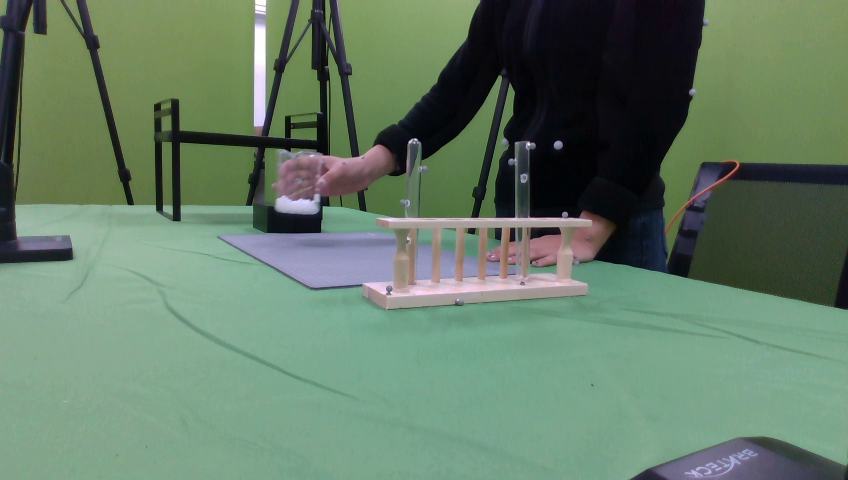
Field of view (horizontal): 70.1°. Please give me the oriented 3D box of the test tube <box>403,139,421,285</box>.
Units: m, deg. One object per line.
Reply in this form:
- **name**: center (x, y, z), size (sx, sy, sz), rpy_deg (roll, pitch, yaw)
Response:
- **test tube**: center (-0.013, -0.027, 0.618), size (0.017, 0.150, 0.017), rpy_deg (2, 7, 0)

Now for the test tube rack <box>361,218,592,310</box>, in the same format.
- **test tube rack**: center (0.060, 0.019, 0.640), size (0.243, 0.085, 0.066), rpy_deg (-1, 8, -27)

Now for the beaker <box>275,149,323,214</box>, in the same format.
- **beaker**: center (-0.204, -0.094, 0.974), size (0.074, 0.100, 0.084), rpy_deg (3, 5, 0)

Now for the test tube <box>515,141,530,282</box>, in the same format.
- **test tube**: center (0.103, -0.028, 0.636), size (0.017, 0.150, 0.017), rpy_deg (-2, 12, 1)
